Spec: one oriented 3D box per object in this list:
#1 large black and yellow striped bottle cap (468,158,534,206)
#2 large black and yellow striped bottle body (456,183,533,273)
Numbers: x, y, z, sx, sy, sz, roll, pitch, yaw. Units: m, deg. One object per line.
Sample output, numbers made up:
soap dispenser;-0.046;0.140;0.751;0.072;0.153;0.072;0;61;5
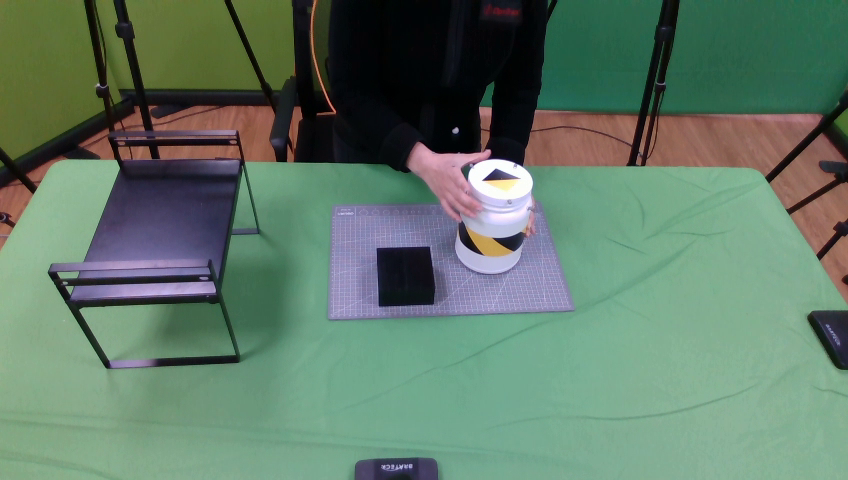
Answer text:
large black and yellow striped bottle cap;0.136;-0.104;1.065;0.115;0.019;0.114;2;45;-2
large black and yellow striped bottle body;0.130;-0.042;1.128;0.131;0.185;0.130;2;46;-2
